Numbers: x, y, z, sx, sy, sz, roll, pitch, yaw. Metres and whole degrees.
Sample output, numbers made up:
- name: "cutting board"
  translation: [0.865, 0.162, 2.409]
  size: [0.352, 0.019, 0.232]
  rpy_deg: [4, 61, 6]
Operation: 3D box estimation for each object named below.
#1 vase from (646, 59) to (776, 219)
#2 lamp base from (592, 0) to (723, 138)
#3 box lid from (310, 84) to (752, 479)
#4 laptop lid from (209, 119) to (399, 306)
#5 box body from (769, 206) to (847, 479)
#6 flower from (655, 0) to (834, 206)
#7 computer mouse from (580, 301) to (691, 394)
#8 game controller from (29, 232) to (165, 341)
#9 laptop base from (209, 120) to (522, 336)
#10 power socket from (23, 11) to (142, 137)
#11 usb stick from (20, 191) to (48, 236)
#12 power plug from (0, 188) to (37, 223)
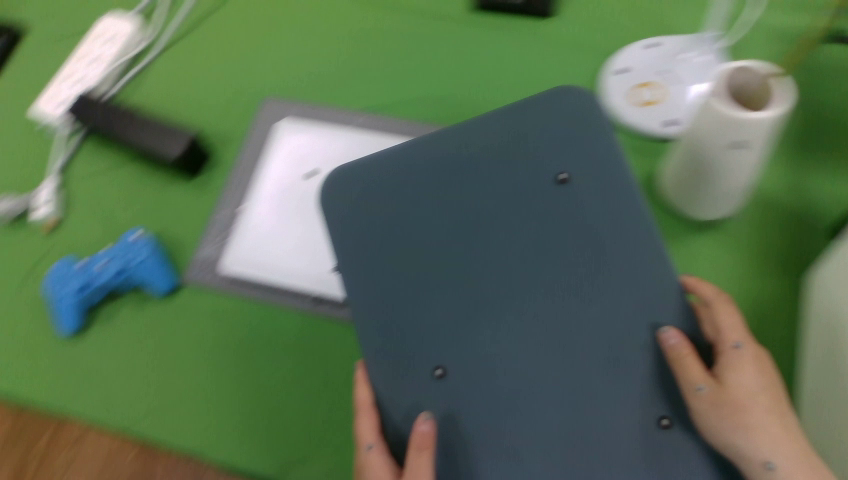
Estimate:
- name: "vase"
  translation: [0.306, -0.104, 0.658]
  size: [0.098, 0.202, 0.097]
  rpy_deg: [-3, 64, 7]
- name: "lamp base"
  translation: [0.304, -0.243, 0.731]
  size: [0.179, 0.182, 0.159]
  rpy_deg: [-39, 67, -14]
- name: "box lid"
  translation: [0.068, 0.067, 0.487]
  size: [0.263, 0.015, 0.369]
  rpy_deg: [-19, 77, 5]
- name: "laptop lid"
  translation: [-0.073, -0.027, 0.753]
  size: [0.355, 0.013, 0.240]
  rpy_deg: [13, 70, 12]
- name: "box body"
  translation: [0.468, 0.170, 0.536]
  size: [0.253, 0.162, 0.362]
  rpy_deg: [13, 68, 13]
- name: "flower"
  translation: [0.314, -0.143, 0.583]
  size: [0.038, 0.364, 0.043]
  rpy_deg: [5, 56, -9]
- name: "computer mouse"
  translation: [0.230, 0.113, 0.658]
  size: [0.117, 0.041, 0.062]
  rpy_deg: [-30, 63, -12]
- name: "game controller"
  translation: [-0.412, 0.052, 0.753]
  size: [0.155, 0.052, 0.096]
  rpy_deg: [-23, 62, -5]
- name: "laptop base"
  translation: [-0.071, -0.025, 0.764]
  size: [0.353, 0.023, 0.234]
  rpy_deg: [11, 70, 11]
- name: "power socket"
  translation: [-0.509, -0.254, 0.908]
  size: [0.072, 0.033, 0.225]
  rpy_deg: [19, 69, 13]
- name: "usb stick"
  translation: [-0.524, -0.035, 0.813]
  size: [0.021, 0.027, 0.059]
  rpy_deg: [-6, 72, -5]
- name: "power plug"
  translation: [-0.572, -0.045, 0.830]
  size: [0.052, 0.035, 0.072]
  rpy_deg: [5, 25, 34]
